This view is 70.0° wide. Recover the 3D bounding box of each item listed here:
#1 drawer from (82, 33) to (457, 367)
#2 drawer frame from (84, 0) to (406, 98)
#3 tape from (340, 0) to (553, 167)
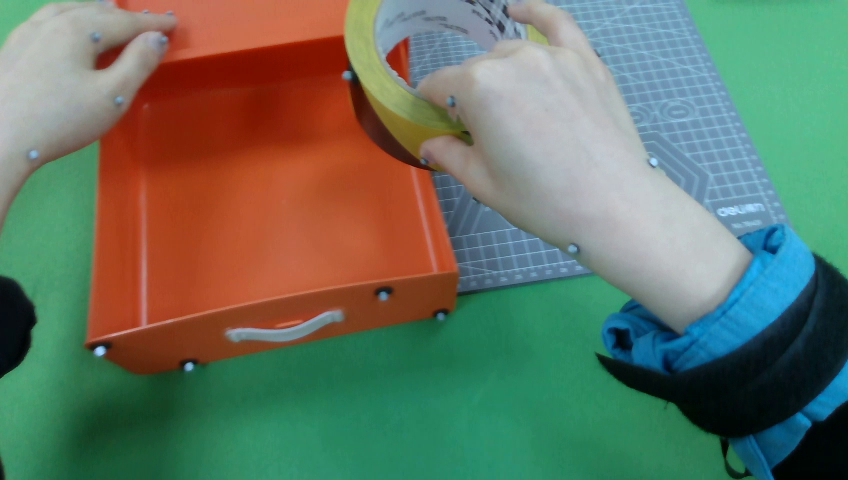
[{"bbox_3d":[-0.097,-0.042,0.381,0.195,0.074,0.210,-11,65,-5],"label":"drawer"},{"bbox_3d":[-0.132,-0.192,0.453,0.202,0.083,0.211,-12,63,-6],"label":"drawer frame"},{"bbox_3d":[0.012,-0.101,0.337,0.117,0.053,0.116,2,75,-6],"label":"tape"}]
